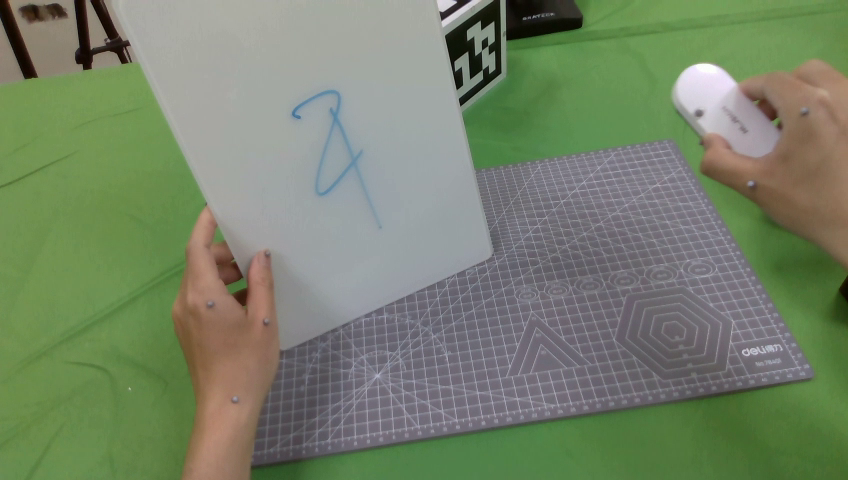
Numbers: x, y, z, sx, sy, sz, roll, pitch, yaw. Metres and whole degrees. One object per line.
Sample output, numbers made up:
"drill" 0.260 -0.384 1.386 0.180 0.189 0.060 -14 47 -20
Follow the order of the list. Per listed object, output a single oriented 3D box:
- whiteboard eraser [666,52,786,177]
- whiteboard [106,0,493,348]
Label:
"whiteboard eraser" 0.212 -0.089 0.429 0.041 0.019 0.101 -35 80 -4
"whiteboard" -0.093 -0.102 0.533 0.217 0.308 0.142 -24 31 -12
